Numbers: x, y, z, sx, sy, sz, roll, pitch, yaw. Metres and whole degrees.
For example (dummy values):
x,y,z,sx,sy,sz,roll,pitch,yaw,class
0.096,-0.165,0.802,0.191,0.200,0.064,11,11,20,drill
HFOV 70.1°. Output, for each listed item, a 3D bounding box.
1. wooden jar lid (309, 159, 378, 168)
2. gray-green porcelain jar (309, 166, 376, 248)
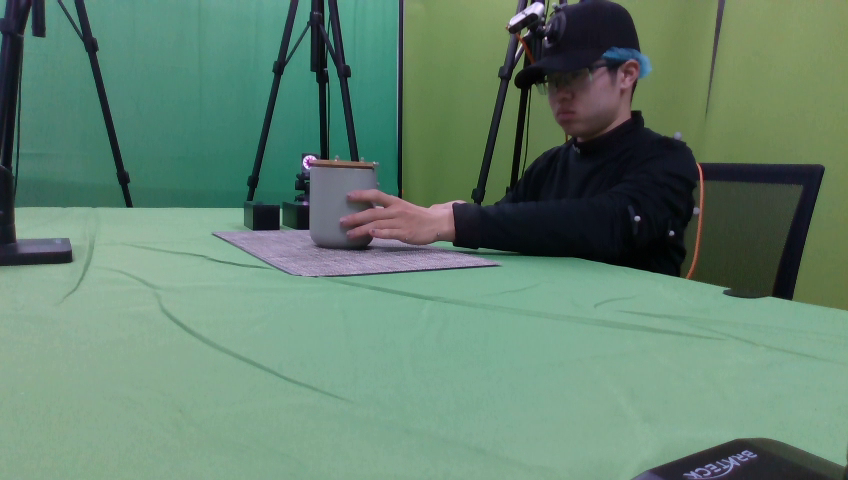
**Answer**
x,y,z,sx,sy,sz,roll,pitch,yaw,class
-0.128,-0.117,0.957,0.108,0.020,0.108,3,7,0,wooden jar lid
-0.130,-0.054,0.966,0.106,0.126,0.106,2,8,0,gray-green porcelain jar
